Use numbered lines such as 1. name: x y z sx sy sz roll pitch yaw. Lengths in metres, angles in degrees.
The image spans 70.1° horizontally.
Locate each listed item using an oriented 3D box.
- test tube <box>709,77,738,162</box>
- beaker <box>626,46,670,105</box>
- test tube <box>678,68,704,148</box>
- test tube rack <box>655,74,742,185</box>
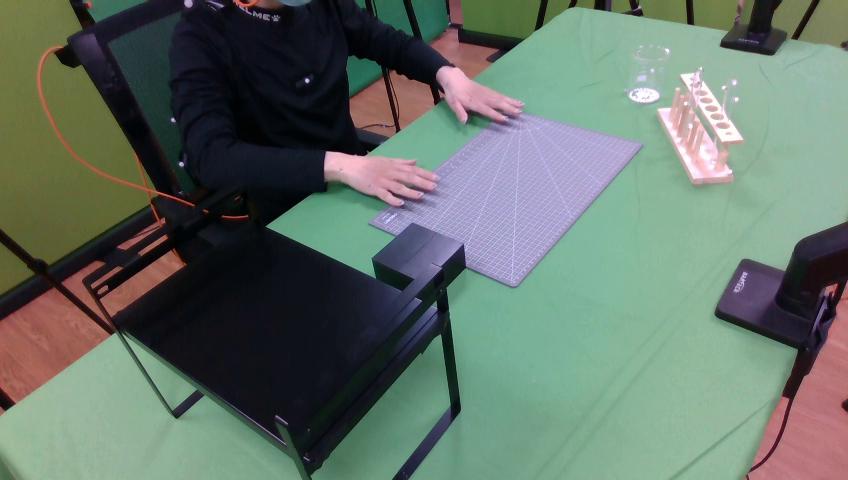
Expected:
1. test tube: 0.498 -0.198 1.008 0.017 0.151 0.017 -3 37 3
2. beaker: 0.457 -0.336 1.240 0.084 0.101 0.073 -12 41 -6
3. test tube: 0.465 -0.228 1.054 0.017 0.151 0.017 -3 41 4
4. test tube rack: 0.488 -0.205 1.093 0.067 0.085 0.241 -3 41 5
